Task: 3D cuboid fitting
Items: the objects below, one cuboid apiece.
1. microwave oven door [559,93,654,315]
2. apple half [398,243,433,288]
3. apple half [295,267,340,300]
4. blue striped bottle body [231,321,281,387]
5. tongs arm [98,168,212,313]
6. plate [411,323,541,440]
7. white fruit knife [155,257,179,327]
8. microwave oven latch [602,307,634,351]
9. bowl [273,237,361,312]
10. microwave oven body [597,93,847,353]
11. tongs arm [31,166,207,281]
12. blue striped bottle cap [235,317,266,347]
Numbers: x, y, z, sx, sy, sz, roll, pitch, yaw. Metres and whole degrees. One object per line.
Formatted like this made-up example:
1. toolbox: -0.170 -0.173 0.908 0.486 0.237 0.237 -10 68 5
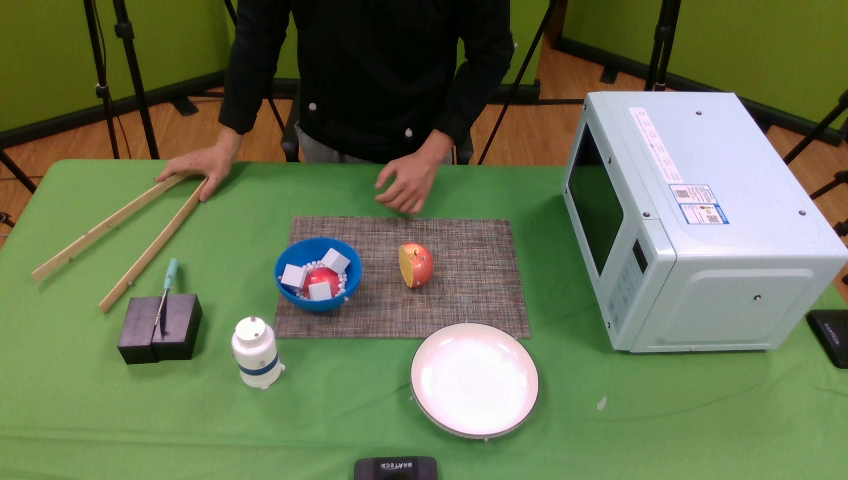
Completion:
1. microwave oven door: 0.327 -0.074 1.123 0.039 0.245 0.353 -1 46 -5
2. apple half: -0.012 0.046 1.115 0.053 0.075 0.080 -11 44 -19
3. apple half: -0.187 0.070 1.067 0.081 0.033 0.081 3 46 -3
4. blue striped bottle body: -0.262 0.171 0.944 0.063 0.121 0.062 2 46 -2
5. tongs arm: -0.504 -0.012 1.167 0.028 0.028 0.385 11 46 11
6. plate: 0.082 0.228 0.976 0.208 0.039 0.206 2 45 -2
7. white fruit knife: -0.440 0.085 1.037 0.016 0.027 0.206 10 26 -19
8. microwave oven latch: 0.332 0.153 1.044 0.030 0.029 0.078 -1 45 -4
9. bowl: -0.186 0.075 1.070 0.151 0.077 0.150 3 46 -3
10. microwave oven body: 0.475 -0.041 1.109 0.326 0.261 0.438 -1 45 -4
11. tongs arm: -0.578 -0.040 1.184 0.050 0.026 0.384 23 48 17
12. blue striped bottle cap: -0.260 0.137 0.907 0.044 0.021 0.044 3 43 -2
